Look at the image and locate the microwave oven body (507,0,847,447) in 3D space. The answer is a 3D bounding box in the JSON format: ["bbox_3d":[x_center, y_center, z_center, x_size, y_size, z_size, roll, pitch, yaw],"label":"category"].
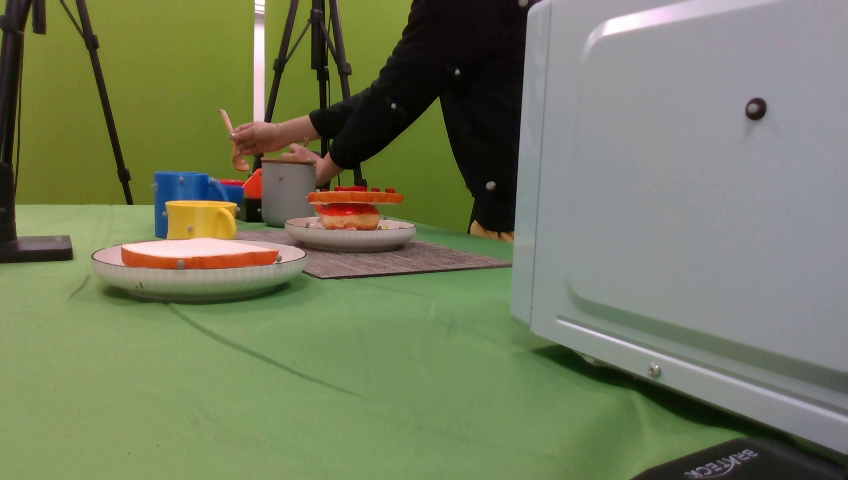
[{"bbox_3d":[0.331,-0.042,0.425,0.444,0.260,0.324,-2,8,-31],"label":"microwave oven body"}]

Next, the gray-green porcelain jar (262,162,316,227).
[{"bbox_3d":[-0.271,-0.092,1.218,0.106,0.126,0.106,2,7,0],"label":"gray-green porcelain jar"}]

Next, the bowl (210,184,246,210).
[{"bbox_3d":[-0.422,-0.067,1.166,0.151,0.077,0.151,2,7,0],"label":"bowl"}]

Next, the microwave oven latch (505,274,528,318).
[{"bbox_3d":[0.100,0.041,0.472,0.079,0.029,0.030,-2,8,-30],"label":"microwave oven latch"}]

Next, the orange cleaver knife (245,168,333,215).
[{"bbox_3d":[-0.300,-0.089,1.350,0.212,0.077,0.012,29,-11,-34],"label":"orange cleaver knife"}]

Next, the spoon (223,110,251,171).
[{"bbox_3d":[-0.469,-0.248,1.501,0.042,0.193,0.021,-5,-25,-38],"label":"spoon"}]

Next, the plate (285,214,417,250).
[{"bbox_3d":[-0.116,-0.014,0.964,0.209,0.038,0.209,2,8,0],"label":"plate"}]

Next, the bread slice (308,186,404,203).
[{"bbox_3d":[-0.114,-0.071,0.952,0.134,0.018,0.107,-2,0,21],"label":"bread slice"}]

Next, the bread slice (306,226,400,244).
[{"bbox_3d":[-0.103,-0.009,0.961,0.131,0.019,0.105,1,8,24],"label":"bread slice"}]

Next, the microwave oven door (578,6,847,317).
[{"bbox_3d":[0.294,-0.067,0.570,0.358,0.243,0.039,-3,9,-31],"label":"microwave oven door"}]

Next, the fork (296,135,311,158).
[{"bbox_3d":[-0.320,-0.174,1.494,0.018,0.207,0.028,32,30,6],"label":"fork"}]

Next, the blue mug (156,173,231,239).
[{"bbox_3d":[-0.381,-0.057,1.004,0.117,0.106,0.082,1,8,-12],"label":"blue mug"}]

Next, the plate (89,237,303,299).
[{"bbox_3d":[-0.233,0.029,0.637,0.208,0.039,0.207,2,7,0],"label":"plate"}]

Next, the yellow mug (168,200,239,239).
[{"bbox_3d":[-0.320,-0.023,0.904,0.130,0.064,0.100,9,11,36],"label":"yellow mug"}]

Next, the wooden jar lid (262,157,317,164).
[{"bbox_3d":[-0.269,-0.154,1.208,0.108,0.020,0.108,3,4,0],"label":"wooden jar lid"}]
